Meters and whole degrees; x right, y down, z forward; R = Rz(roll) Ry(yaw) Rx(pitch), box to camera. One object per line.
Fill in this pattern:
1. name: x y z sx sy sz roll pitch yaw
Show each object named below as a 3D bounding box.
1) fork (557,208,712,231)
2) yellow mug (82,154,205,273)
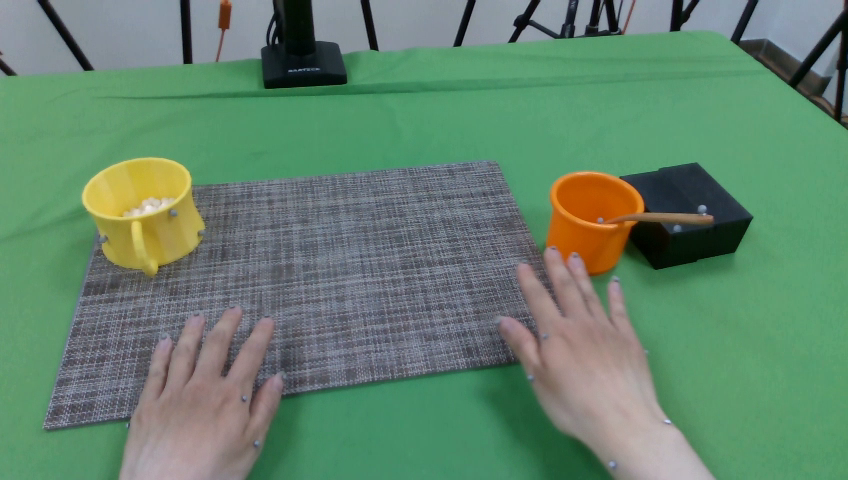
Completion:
1. fork: 0.187 -0.020 0.567 0.028 0.018 0.206 -6 -1 -19
2. yellow mug: -0.274 -0.022 0.600 0.100 0.064 0.129 -11 45 -15
